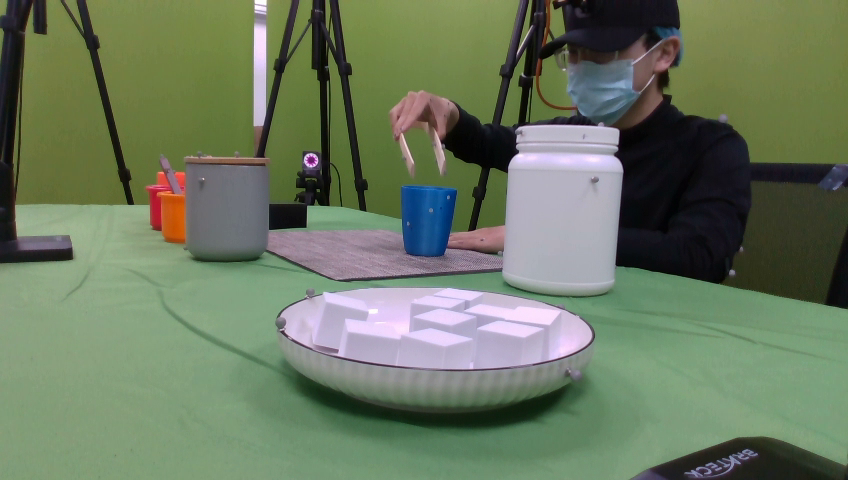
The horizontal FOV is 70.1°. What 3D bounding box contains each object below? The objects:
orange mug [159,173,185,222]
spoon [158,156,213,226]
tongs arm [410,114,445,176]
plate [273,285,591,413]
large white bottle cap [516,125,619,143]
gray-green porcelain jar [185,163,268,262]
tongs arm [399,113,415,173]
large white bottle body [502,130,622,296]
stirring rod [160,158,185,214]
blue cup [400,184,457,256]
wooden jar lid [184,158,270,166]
[{"bbox_3d":[-0.477,-0.089,1.241,0.127,0.101,0.083,-7,11,-33],"label":"orange mug"},{"bbox_3d":[-0.434,-0.094,1.121,0.041,0.022,0.193,5,51,13],"label":"spoon"},{"bbox_3d":[0.001,-0.174,1.051,0.051,0.026,0.384,5,21,-3],"label":"tongs arm"},{"bbox_3d":[0.005,0.069,0.407,0.208,0.039,0.207,2,7,0],"label":"plate"},{"bbox_3d":[0.164,-0.120,0.695,0.115,0.018,0.115,2,8,0],"label":"large white bottle cap"},{"bbox_3d":[-0.263,-0.038,0.808,0.106,0.126,0.106,3,8,0],"label":"gray-green porcelain jar"},{"bbox_3d":[-0.027,-0.176,1.047,0.028,0.028,0.386,1,21,-5],"label":"tongs arm"},{"bbox_3d":[0.160,-0.037,0.706,0.131,0.184,0.130,2,7,0],"label":"large white bottle body"},{"bbox_3d":[-0.390,-0.070,0.972,0.014,0.006,0.175,-3,51,-48],"label":"stirring rod"},{"bbox_3d":[0.003,-0.030,0.901,0.093,0.100,0.092,4,9,0],"label":"blue cup"},{"bbox_3d":[-0.260,-0.099,0.801,0.108,0.020,0.108,0,9,0],"label":"wooden jar lid"}]
